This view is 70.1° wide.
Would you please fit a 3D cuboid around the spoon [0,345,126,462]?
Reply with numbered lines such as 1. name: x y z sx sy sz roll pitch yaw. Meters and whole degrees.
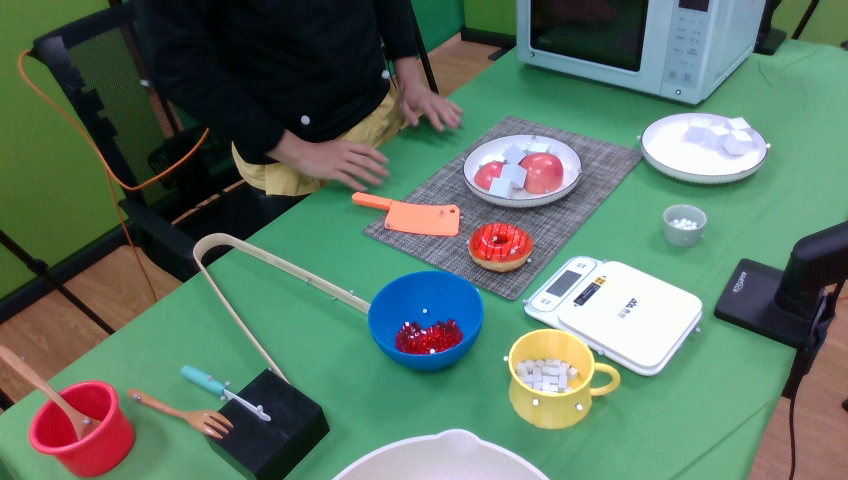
1. spoon: -0.434 0.192 0.720 0.194 0.021 0.042 47 54 -7

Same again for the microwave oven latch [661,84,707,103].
1. microwave oven latch: 0.517 -0.296 1.204 0.078 0.029 0.030 27 52 35

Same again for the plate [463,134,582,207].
1. plate: 0.173 -0.119 1.070 0.209 0.038 0.208 -4 40 4

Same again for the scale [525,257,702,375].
1. scale: 0.254 0.091 0.821 0.199 0.032 0.149 27 51 35

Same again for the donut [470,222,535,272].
1. donut: 0.119 0.009 0.923 0.099 0.048 0.098 -4 38 3

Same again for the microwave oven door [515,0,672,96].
1. microwave oven door: 0.343 -0.454 1.259 0.353 0.245 0.039 26 51 33

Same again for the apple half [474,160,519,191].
1. apple half: 0.130 -0.120 1.068 0.081 0.033 0.081 -3 37 3

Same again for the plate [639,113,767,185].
1. plate: 0.489 -0.157 1.074 0.207 0.039 0.206 -4 40 4

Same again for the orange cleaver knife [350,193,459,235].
1. orange cleaver knife: -0.036 -0.044 1.028 0.210 0.012 0.077 10 49 17

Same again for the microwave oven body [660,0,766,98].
1. microwave oven body: 0.472 -0.513 1.317 0.438 0.261 0.327 26 51 34

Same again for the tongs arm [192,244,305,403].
1. tongs arm: -0.267 0.109 0.883 0.028 0.028 0.384 -36 46 -19

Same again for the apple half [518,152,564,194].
1. apple half: 0.204 -0.124 1.048 0.075 0.053 0.080 -7 41 -3

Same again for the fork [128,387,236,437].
1. fork: -0.305 0.207 0.744 0.206 0.019 0.028 3 41 36

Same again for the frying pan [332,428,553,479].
1. frying pan: -0.089 0.306 0.564 0.487 0.103 0.306 10 41 7

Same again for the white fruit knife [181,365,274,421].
1. white fruit knife: -0.245 0.187 0.747 0.205 0.027 0.016 9 41 40

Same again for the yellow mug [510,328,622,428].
1. yellow mug: 0.168 0.164 0.722 0.130 0.064 0.099 0 40 8

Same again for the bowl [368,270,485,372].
1. bowl: 0.007 0.118 0.791 0.151 0.077 0.150 -4 40 4

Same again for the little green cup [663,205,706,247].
1. little green cup: 0.396 -0.020 0.926 0.061 0.039 0.061 -4 40 4

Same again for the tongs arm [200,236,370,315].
1. tongs arm: -0.209 0.063 0.924 0.381 0.026 0.051 23 53 32
